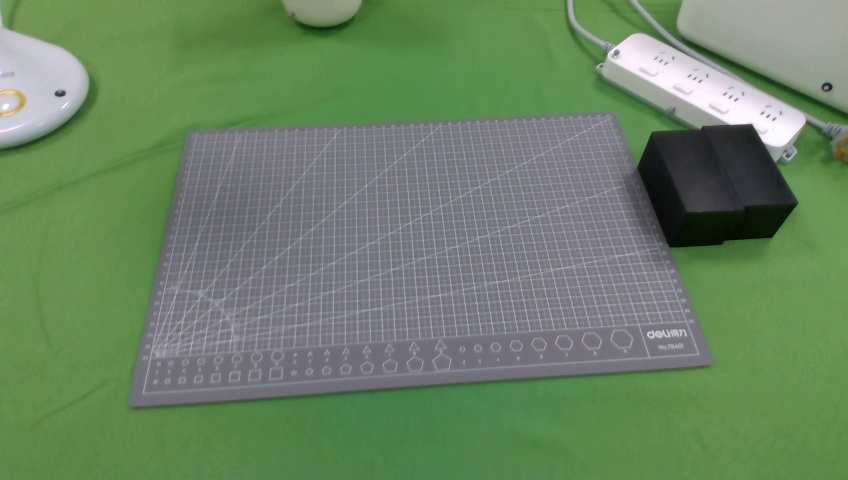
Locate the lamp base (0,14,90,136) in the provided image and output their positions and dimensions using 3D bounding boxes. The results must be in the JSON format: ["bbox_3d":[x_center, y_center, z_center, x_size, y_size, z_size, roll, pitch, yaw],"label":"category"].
[{"bbox_3d":[-0.446,-0.220,0.584,0.161,0.182,0.177,-30,57,-21],"label":"lamp base"}]

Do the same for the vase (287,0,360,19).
[{"bbox_3d":[-0.120,-0.355,0.678,0.098,0.201,0.097,1,53,-1],"label":"vase"}]

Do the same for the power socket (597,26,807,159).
[{"bbox_3d":[0.295,-0.163,0.649,0.072,0.033,0.225,-38,63,-26],"label":"power socket"}]

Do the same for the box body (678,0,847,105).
[{"bbox_3d":[0.502,-0.281,0.658,0.361,0.162,0.254,36,61,23],"label":"box body"}]

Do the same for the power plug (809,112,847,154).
[{"bbox_3d":[0.421,-0.106,0.619,0.053,0.035,0.072,-25,27,-29],"label":"power plug"}]
